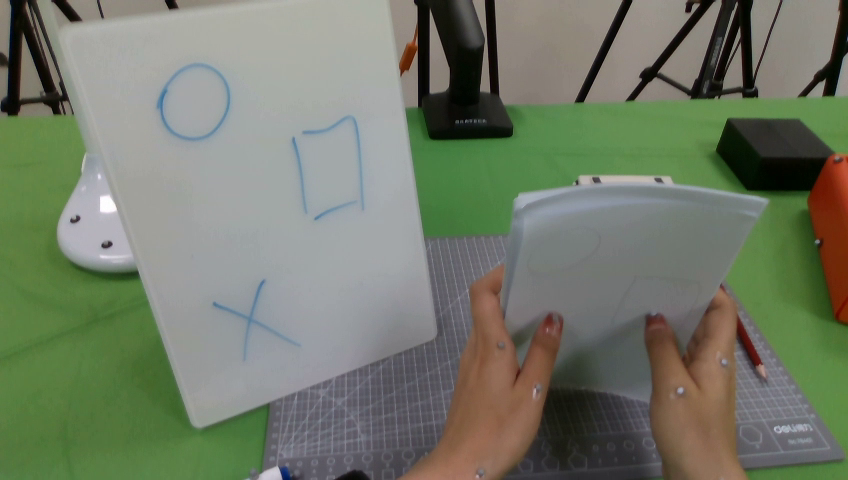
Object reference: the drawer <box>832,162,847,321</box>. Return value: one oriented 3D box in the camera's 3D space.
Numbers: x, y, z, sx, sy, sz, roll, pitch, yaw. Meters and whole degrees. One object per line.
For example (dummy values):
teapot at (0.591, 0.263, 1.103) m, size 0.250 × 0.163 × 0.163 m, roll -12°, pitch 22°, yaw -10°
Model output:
drawer at (0.523, 0.013, 0.615) m, size 0.194 × 0.074 × 0.210 m, roll 13°, pitch 40°, yaw 14°

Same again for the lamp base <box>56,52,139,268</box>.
lamp base at (-0.316, -0.088, 0.615) m, size 0.178 × 0.182 × 0.160 m, roll 24°, pitch 44°, yaw 28°

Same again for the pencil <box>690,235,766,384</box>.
pencil at (0.297, 0.061, 0.597) m, size 0.012 × 0.012 × 0.192 m, roll 2°, pitch 42°, yaw -1°

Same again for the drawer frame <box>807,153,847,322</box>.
drawer frame at (0.522, 0.010, 0.617) m, size 0.201 × 0.083 × 0.212 m, roll 12°, pitch 40°, yaw 13°

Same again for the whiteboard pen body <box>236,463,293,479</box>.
whiteboard pen body at (-0.160, 0.184, 0.415) m, size 0.141 × 0.017 × 0.017 m, roll -14°, pitch 42°, yaw -22°

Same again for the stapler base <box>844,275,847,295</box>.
stapler base at (0.481, 0.058, 0.586) m, size 0.130 × 0.024 × 0.041 m, roll 17°, pitch 49°, yaw 6°

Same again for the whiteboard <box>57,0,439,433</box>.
whiteboard at (-0.130, -0.038, 0.511) m, size 0.218 × 0.307 × 0.142 m, roll -17°, pitch 24°, yaw -21°

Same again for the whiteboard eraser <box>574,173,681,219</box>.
whiteboard eraser at (0.236, -0.051, 0.710) m, size 0.113 × 0.042 × 0.055 m, roll 2°, pitch 40°, yaw -1°
